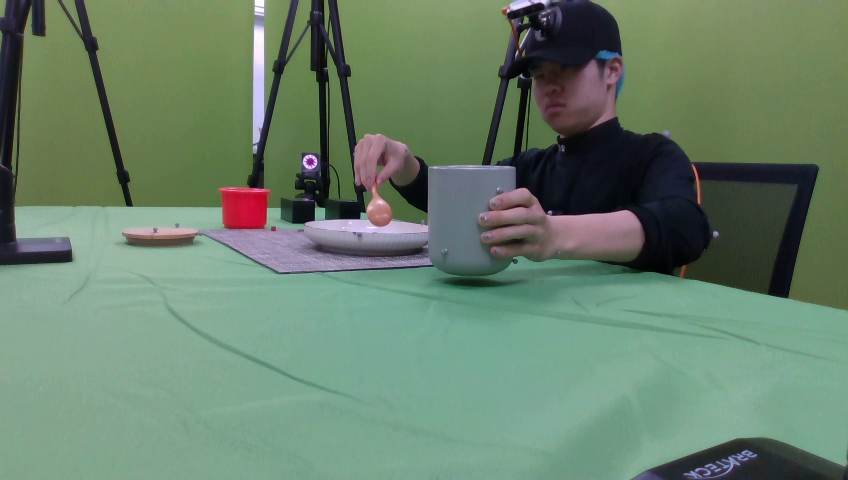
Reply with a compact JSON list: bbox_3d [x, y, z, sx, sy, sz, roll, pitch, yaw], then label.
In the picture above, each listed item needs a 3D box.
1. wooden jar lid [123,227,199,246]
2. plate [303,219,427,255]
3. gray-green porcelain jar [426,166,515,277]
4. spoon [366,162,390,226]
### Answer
[{"bbox_3d":[-0.408,-0.006,0.942,0.108,0.020,0.108,3,6,0],"label":"wooden jar lid"},{"bbox_3d":[-0.084,-0.005,0.952,0.208,0.039,0.207,3,7,0],"label":"plate"},{"bbox_3d":[0.055,-0.024,0.723,0.106,0.126,0.106,-1,9,0],"label":"gray-green porcelain jar"},{"bbox_3d":[-0.083,-0.081,1.002,0.042,0.021,0.193,14,29,-19],"label":"spoon"}]
